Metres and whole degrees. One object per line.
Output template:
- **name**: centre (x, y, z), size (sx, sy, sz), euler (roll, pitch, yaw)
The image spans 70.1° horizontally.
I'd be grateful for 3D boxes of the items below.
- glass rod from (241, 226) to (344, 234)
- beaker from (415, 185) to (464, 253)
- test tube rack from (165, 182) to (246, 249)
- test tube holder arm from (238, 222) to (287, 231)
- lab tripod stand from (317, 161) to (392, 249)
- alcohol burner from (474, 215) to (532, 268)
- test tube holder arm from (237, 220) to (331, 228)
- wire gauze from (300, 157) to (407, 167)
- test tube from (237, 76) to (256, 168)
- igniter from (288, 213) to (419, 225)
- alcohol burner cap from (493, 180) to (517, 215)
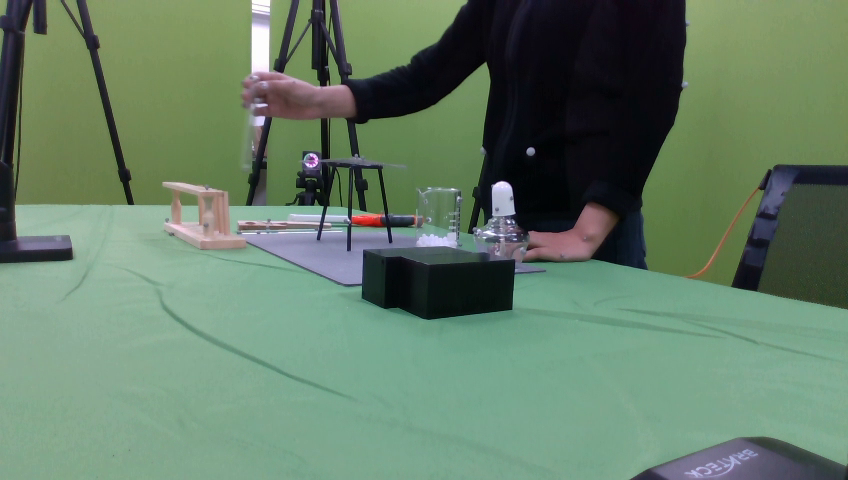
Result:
- **glass rod**: centre (-0.239, -0.020, 1.119), size (0.201, 0.008, 0.008), euler (-4, 9, -34)
- **beaker**: centre (0.021, -0.033, 0.938), size (0.073, 0.100, 0.084), euler (7, 10, 35)
- **test tube rack**: centre (-0.360, -0.045, 0.982), size (0.067, 0.085, 0.241), euler (-3, 9, -34)
- **test tube holder arm**: centre (-0.296, -0.024, 1.112), size (0.088, 0.015, 0.010), euler (-2, 41, -32)
- **lab tripod stand**: centre (-0.111, -0.059, 0.963), size (0.148, 0.131, 0.148), euler (4, 8, 0)
- **alcohol burner**: centre (0.107, -0.022, 0.819), size (0.078, 0.119, 0.078), euler (1, 9, 0)
- **test tube holder arm**: centre (-0.260, -0.029, 1.140), size (0.179, 0.015, 0.013), euler (-2, 41, -32)
- **wire gauze**: centre (-0.112, -0.125, 0.957), size (0.121, 0.011, 0.126), euler (11, 11, 42)
- **test tube**: centre (-0.290, -0.193, 0.989), size (0.017, 0.150, 0.017), euler (7, 3, 0)
- **igniter**: centre (-0.145, -0.044, 1.278), size (0.278, 0.025, 0.057), euler (0, -2, -21)
- **alcohol burner cap**: centre (0.107, -0.057, 0.813), size (0.034, 0.048, 0.034), euler (-6, 11, 2)
